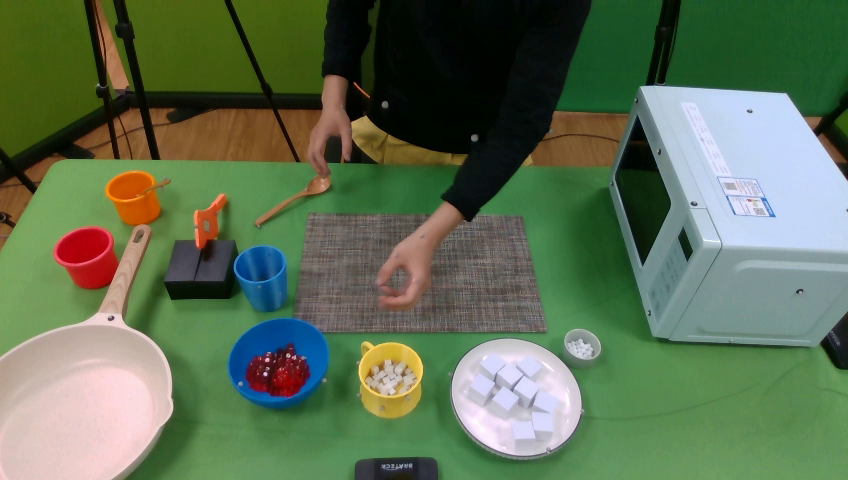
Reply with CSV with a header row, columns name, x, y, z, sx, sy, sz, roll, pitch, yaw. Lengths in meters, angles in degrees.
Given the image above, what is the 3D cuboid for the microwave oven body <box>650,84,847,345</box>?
name,x,y,z,sx,sy,sz,roll,pitch,yaw
microwave oven body,0.569,-0.054,1.116,0.326,0.261,0.439,2,46,-1

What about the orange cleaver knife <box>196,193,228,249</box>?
name,x,y,z,sx,sy,sz,roll,pitch,yaw
orange cleaver knife,-0.406,-0.041,1.163,0.012,0.077,0.210,0,18,-3

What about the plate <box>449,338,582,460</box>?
name,x,y,z,sx,sy,sz,roll,pitch,yaw
plate,0.141,0.251,0.955,0.208,0.039,0.206,2,46,-2

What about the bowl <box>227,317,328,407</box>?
name,x,y,z,sx,sy,sz,roll,pitch,yaw
bowl,-0.222,0.203,0.947,0.151,0.077,0.150,2,46,-2

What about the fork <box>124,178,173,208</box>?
name,x,y,z,sx,sy,sz,roll,pitch,yaw
fork,-0.525,-0.090,1.153,0.207,0.019,0.028,-17,27,45

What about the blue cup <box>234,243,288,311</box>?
name,x,y,z,sx,sy,sz,roll,pitch,yaw
blue cup,-0.276,0.072,1.052,0.093,0.101,0.092,1,48,-1

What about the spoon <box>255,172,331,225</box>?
name,x,y,z,sx,sy,sz,roll,pitch,yaw
spoon,-0.272,-0.087,1.257,0.041,0.022,0.193,43,57,17

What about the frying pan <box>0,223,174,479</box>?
name,x,y,z,sx,sy,sz,roll,pitch,yaw
frying pan,-0.504,0.169,0.941,0.307,0.103,0.485,5,54,-1

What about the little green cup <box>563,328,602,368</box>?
name,x,y,z,sx,sy,sz,roll,pitch,yaw
little green cup,0.265,0.184,1.025,0.061,0.039,0.061,2,46,-1

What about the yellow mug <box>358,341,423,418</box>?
name,x,y,z,sx,sy,sz,roll,pitch,yaw
yellow mug,-0.063,0.210,0.961,0.100,0.064,0.130,-29,54,-28

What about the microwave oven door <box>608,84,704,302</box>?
name,x,y,z,sx,sy,sz,roll,pitch,yaw
microwave oven door,0.424,-0.096,1.138,0.039,0.245,0.353,2,46,-1

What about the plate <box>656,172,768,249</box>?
name,x,y,z,sx,sy,sz,roll,pitch,yaw
plate,0.557,-0.054,1.186,0.209,0.038,0.208,1,45,-1

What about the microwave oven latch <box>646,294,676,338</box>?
name,x,y,z,sx,sy,sz,roll,pitch,yaw
microwave oven latch,0.412,0.133,1.060,0.030,0.029,0.078,3,46,0

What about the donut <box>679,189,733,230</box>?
name,x,y,z,sx,sy,sz,roll,pitch,yaw
donut,0.545,-0.061,1.176,0.099,0.048,0.098,1,45,0
